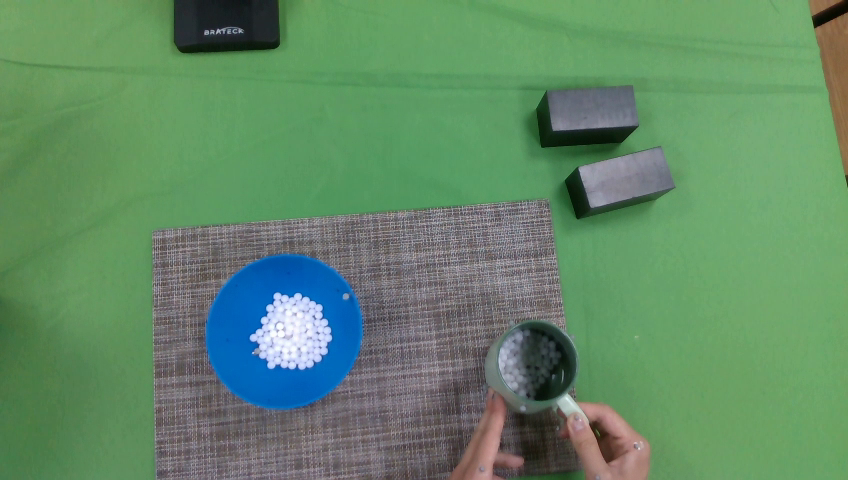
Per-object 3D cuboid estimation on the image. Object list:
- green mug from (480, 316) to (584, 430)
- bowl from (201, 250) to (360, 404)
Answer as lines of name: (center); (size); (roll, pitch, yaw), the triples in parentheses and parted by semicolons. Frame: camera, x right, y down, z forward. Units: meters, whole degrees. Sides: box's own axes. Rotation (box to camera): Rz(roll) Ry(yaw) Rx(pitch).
green mug: (0.115, 0.137, 0.612); (0.092, 0.105, 0.124); (-37, 75, -8)
bowl: (-0.141, 0.090, 0.623); (0.151, 0.077, 0.150); (1, 79, -3)
